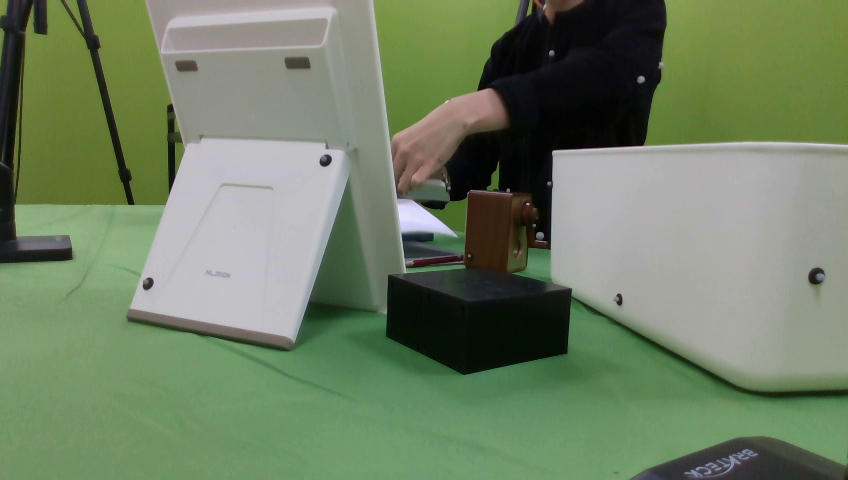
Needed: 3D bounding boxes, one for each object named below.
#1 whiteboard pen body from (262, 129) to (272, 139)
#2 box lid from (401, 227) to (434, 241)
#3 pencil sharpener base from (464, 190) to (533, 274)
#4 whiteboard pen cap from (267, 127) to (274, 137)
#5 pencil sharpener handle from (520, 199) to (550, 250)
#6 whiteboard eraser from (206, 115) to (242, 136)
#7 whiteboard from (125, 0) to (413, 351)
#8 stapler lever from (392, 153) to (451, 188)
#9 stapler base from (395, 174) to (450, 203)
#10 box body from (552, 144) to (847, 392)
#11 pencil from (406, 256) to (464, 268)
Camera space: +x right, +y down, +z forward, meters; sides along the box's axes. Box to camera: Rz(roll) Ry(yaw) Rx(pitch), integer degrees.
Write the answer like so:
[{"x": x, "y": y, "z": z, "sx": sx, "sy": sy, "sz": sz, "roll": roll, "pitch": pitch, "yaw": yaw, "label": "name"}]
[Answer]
[{"x": -0.361, "y": -0.245, "z": 1.393, "sx": 0.017, "sy": 0.017, "sz": 0.140, "roll": 0, "pitch": 5, "yaw": -20, "label": "whiteboard pen body"}, {"x": -0.196, "y": -0.015, "z": 1.105, "sx": 0.373, "sy": 0.015, "sz": 0.262, "roll": -1, "pitch": 7, "yaw": -32, "label": "box lid"}, {"x": 0.103, "y": -0.012, "z": 0.813, "sx": 0.076, "sy": 0.107, "sz": 0.061, "roll": 8, "pitch": 9, "yaw": 36, "label": "pencil sharpener base"}, {"x": -0.340, "y": -0.239, "z": 1.337, "sx": 0.018, "sy": 0.018, "sz": 0.033, "roll": 1, "pitch": -1, "yaw": -15, "label": "whiteboard pen cap"}, {"x": 0.147, "y": -0.019, "z": 0.785, "sx": 0.030, "sy": 0.068, "sz": 0.036, "roll": 8, "pitch": 25, "yaw": 36, "label": "pencil sharpener handle"}, {"x": -0.438, "y": -0.249, "z": 1.320, "sx": 0.056, "sy": 0.042, "sz": 0.112, "roll": -3, "pitch": 9, "yaw": -30, "label": "whiteboard eraser"}, {"x": -0.151, "y": -0.050, "z": 0.471, "sx": 0.216, "sy": 0.305, "sz": 0.144, "roll": 6, "pitch": 27, "yaw": 24, "label": "whiteboard"}, {"x": -0.020, "y": -0.095, "z": 0.813, "sx": 0.118, "sy": 0.040, "sz": 0.027, "roll": 8, "pitch": -23, "yaw": 19, "label": "stapler lever"}, {"x": -0.028, "y": -0.074, "z": 0.804, "sx": 0.130, "sy": 0.024, "sz": 0.041, "roll": 8, "pitch": -22, "yaw": 19, "label": "stapler base"}, {"x": 0.290, "y": 0.002, "z": 0.549, "sx": 0.255, "sy": 0.160, "sz": 0.363, "roll": 2, "pitch": 7, "yaw": -10, "label": "box body"}, {"x": 0.042, "y": 0.028, "z": 0.850, "sx": 0.012, "sy": 0.012, "sz": 0.195, "roll": 10, "pitch": 10, "yaw": 44, "label": "pencil"}]
